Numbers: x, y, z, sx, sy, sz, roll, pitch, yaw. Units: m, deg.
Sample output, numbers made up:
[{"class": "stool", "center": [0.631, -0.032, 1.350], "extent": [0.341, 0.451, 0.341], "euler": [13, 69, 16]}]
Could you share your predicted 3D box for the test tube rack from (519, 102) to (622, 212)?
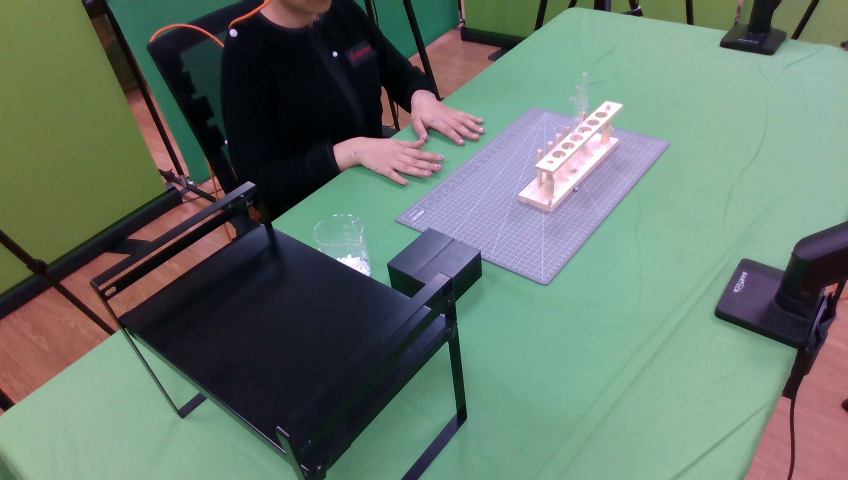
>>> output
[{"class": "test tube rack", "center": [0.260, -0.155, 1.065], "extent": [0.066, 0.085, 0.243], "euler": [24, 50, 32]}]

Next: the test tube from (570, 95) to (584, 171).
[{"class": "test tube", "center": [0.256, -0.175, 1.013], "extent": [0.017, 0.151, 0.017], "euler": [-5, 47, 6]}]

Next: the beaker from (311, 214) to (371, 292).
[{"class": "beaker", "center": [-0.118, 0.022, 0.908], "extent": [0.083, 0.101, 0.074], "euler": [26, 51, 32]}]

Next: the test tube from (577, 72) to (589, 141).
[{"class": "test tube", "center": [0.284, -0.233, 1.084], "extent": [0.017, 0.151, 0.017], "euler": [-5, 44, 6]}]
